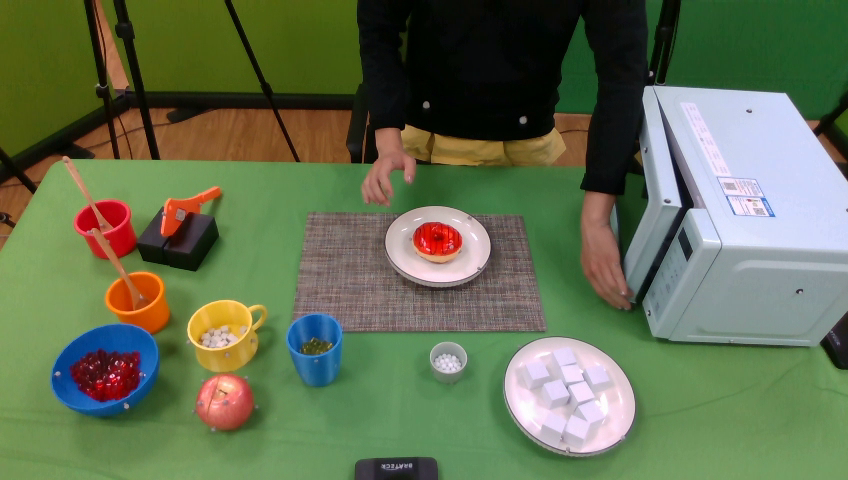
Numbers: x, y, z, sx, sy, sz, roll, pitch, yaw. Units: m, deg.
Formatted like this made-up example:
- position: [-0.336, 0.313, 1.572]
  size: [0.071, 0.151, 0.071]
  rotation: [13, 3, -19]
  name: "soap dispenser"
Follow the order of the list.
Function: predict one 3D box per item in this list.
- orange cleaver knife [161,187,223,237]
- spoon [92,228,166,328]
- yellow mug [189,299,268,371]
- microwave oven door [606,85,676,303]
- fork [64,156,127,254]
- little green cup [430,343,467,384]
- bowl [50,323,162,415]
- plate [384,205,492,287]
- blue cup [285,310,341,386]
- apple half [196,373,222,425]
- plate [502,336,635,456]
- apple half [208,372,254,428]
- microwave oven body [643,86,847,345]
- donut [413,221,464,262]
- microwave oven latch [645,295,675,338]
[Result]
- position: [-0.448, -0.059, 1.180]
  size: [0.012, 0.077, 0.211]
  rotation: [13, 17, 6]
  name: "orange cleaver knife"
- position: [-0.496, 0.062, 1.014]
  size: [0.041, 0.194, 0.021]
  rotation: [-34, 12, -32]
  name: "spoon"
- position: [-0.316, 0.148, 1.002]
  size: [0.131, 0.064, 0.099]
  rotation: [-32, 56, -31]
  name: "yellow mug"
- position: [0.401, -0.096, 1.141]
  size: [0.039, 0.245, 0.354]
  rotation: [7, 46, 4]
  name: "microwave oven door"
- position: [-0.614, -0.064, 1.130]
  size: [0.028, 0.018, 0.207]
  rotation: [-29, 97, -16]
  name: "fork"
- position: [0.039, 0.203, 0.994]
  size: [0.061, 0.039, 0.061]
  rotation: [2, 46, -2]
  name: "little green cup"
- position: [-0.472, 0.209, 0.924]
  size: [0.151, 0.077, 0.150]
  rotation: [3, 45, -2]
  name: "bowl"
- position: [0.027, 0.015, 1.169]
  size: [0.209, 0.038, 0.208]
  rotation: [2, 46, -2]
  name: "plate"
- position: [-0.170, 0.179, 0.958]
  size: [0.093, 0.101, 0.092]
  rotation: [1, 45, -1]
  name: "blue cup"
- position: [-0.322, 0.239, 0.907]
  size: [0.033, 0.081, 0.081]
  rotation: [7, 46, -1]
  name: "apple half"
- position: [0.225, 0.248, 0.964]
  size: [0.208, 0.039, 0.206]
  rotation: [2, 46, -2]
  name: "plate"
- position: [-0.282, 0.243, 0.908]
  size: [0.053, 0.075, 0.080]
  rotation: [7, 43, -1]
  name: "apple half"
- position: [0.567, -0.053, 1.119]
  size: [0.326, 0.261, 0.439]
  rotation: [2, 45, -1]
  name: "microwave oven body"
- position: [0.028, 0.002, 1.166]
  size: [0.099, 0.048, 0.098]
  rotation: [3, 43, -2]
  name: "donut"
- position: [0.412, 0.134, 1.061]
  size: [0.030, 0.029, 0.078]
  rotation: [3, 45, 0]
  name: "microwave oven latch"
